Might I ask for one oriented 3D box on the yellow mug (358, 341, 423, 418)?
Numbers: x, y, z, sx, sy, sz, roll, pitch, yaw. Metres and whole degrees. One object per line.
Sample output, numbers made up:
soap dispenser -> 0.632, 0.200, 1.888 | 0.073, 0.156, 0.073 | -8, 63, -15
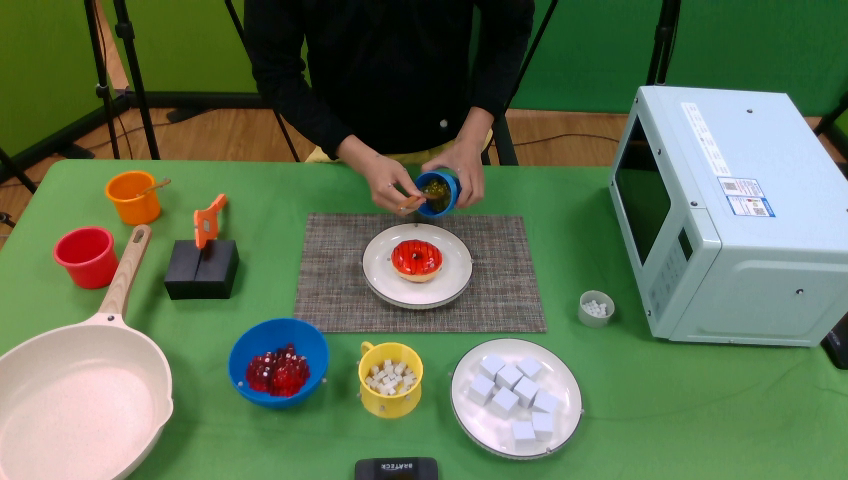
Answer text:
yellow mug -> -0.063, 0.210, 0.961 | 0.100, 0.064, 0.130 | -29, 54, -27

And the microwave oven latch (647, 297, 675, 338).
microwave oven latch -> 0.413, 0.133, 1.060 | 0.030, 0.029, 0.078 | 5, 46, 2

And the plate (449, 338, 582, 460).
plate -> 0.141, 0.251, 0.955 | 0.208, 0.039, 0.206 | 2, 46, -2

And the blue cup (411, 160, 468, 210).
blue cup -> 0.037, -0.094, 1.144 | 0.092, 0.092, 0.100 | 36, 13, 27

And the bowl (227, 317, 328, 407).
bowl -> -0.223, 0.203, 0.947 | 0.151, 0.077, 0.150 | 2, 46, -2

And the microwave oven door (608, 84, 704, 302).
microwave oven door -> 0.424, -0.096, 1.138 | 0.039, 0.245, 0.353 | 2, 47, -1

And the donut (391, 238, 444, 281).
donut -> -0.012, 0.035, 1.128 | 0.099, 0.048, 0.098 | 3, 43, -3

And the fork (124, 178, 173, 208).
fork -> -0.525, -0.089, 1.153 | 0.207, 0.019, 0.028 | -18, 27, 45

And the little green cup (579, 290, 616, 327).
little green cup -> 0.308, 0.124, 1.086 | 0.061, 0.039, 0.061 | 1, 45, -1

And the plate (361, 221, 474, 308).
plate -> -0.011, 0.049, 1.130 | 0.209, 0.038, 0.208 | 2, 46, -2

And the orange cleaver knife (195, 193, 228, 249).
orange cleaver knife -> -0.406, -0.041, 1.163 | 0.012, 0.077, 0.210 | 0, 18, -4

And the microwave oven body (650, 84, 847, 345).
microwave oven body -> 0.569, -0.054, 1.115 | 0.326, 0.261, 0.439 | 2, 46, -1

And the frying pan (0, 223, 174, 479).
frying pan -> -0.505, 0.169, 0.941 | 0.307, 0.103, 0.485 | 5, 54, -1

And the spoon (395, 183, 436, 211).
spoon -> -0.008, -0.078, 1.072 | 0.041, 0.022, 0.194 | 16, 18, 20
